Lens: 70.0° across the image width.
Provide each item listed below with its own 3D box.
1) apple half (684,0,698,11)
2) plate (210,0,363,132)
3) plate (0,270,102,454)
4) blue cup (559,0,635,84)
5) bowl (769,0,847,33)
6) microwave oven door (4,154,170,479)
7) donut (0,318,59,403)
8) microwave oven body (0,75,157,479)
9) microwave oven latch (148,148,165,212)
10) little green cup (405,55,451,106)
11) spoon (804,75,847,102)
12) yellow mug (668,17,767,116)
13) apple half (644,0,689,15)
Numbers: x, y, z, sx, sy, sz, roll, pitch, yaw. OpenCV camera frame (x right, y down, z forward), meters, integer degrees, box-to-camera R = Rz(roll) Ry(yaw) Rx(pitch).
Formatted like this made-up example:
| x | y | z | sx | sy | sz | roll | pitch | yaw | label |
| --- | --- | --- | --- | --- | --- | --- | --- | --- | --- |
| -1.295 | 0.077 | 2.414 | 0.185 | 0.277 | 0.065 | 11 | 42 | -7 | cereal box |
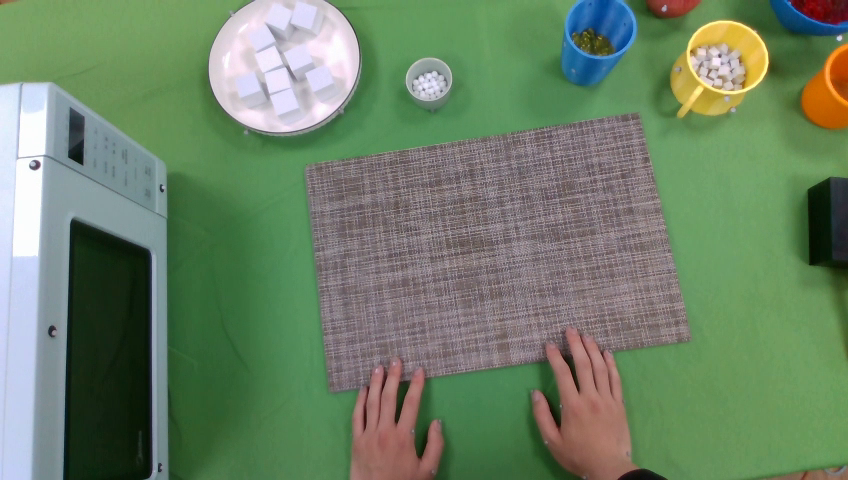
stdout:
| x | y | z | sx | sy | sz | roll | pitch | yaw | label |
| --- | --- | --- | --- | --- | --- | --- | --- | --- | --- |
| 0.354 | -0.341 | 0.795 | 0.033 | 0.081 | 0.081 | -3 | 78 | 6 | apple half |
| -0.185 | -0.241 | 0.827 | 0.207 | 0.039 | 0.206 | -1 | 79 | 4 | plate |
| -0.474 | 0.139 | 0.705 | 0.209 | 0.038 | 0.208 | -1 | 79 | 3 | plate |
| 0.212 | -0.249 | 0.772 | 0.092 | 0.100 | 0.092 | 0 | 80 | 3 | blue cup |
| 0.507 | -0.326 | 0.781 | 0.151 | 0.077 | 0.150 | -1 | 79 | 4 | bowl |
| -0.344 | 0.116 | 0.643 | 0.039 | 0.245 | 0.354 | -6 | 78 | 3 | microwave oven door |
| -0.470 | 0.138 | 0.695 | 0.099 | 0.048 | 0.099 | 0 | 88 | 1 | donut |
| -0.492 | 0.090 | 0.663 | 0.326 | 0.261 | 0.439 | -6 | 79 | 2 | microwave oven body |
| -0.354 | -0.077 | 0.786 | 0.030 | 0.029 | 0.079 | -4 | 79 | 2 | microwave oven latch |
| 0.006 | -0.211 | 0.809 | 0.061 | 0.039 | 0.061 | -1 | 78 | 4 | little green cup |
| 0.548 | -0.172 | 0.712 | 0.041 | 0.192 | 0.022 | -50 | 124 | -7 | spoon |
| 0.363 | -0.211 | 0.773 | 0.099 | 0.064 | 0.131 | 39 | 85 | 10 | yellow mug |
| 0.315 | -0.338 | 0.798 | 0.053 | 0.075 | 0.080 | -4 | 82 | 6 | apple half |
